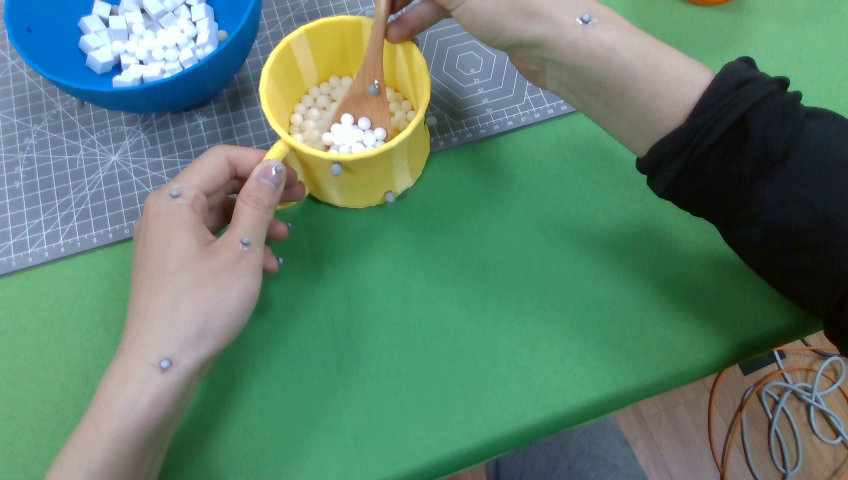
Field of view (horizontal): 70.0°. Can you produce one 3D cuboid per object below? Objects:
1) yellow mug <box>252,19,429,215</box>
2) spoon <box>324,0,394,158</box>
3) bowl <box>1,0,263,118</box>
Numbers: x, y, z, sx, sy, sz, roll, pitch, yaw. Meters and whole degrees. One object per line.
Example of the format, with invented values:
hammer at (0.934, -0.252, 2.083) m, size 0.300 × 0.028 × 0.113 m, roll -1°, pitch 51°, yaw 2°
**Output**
yellow mug at (-0.056, -0.066, 0.376) m, size 0.099 × 0.064 × 0.130 m, roll 38°, pitch 74°, yaw 13°
spoon at (-0.024, -0.127, 0.353) m, size 0.041 × 0.021 × 0.194 m, roll 17°, pitch 109°, yaw 7°
bowl at (-0.173, -0.134, 0.394) m, size 0.151 × 0.077 × 0.150 m, roll 0°, pitch 68°, yaw -1°
